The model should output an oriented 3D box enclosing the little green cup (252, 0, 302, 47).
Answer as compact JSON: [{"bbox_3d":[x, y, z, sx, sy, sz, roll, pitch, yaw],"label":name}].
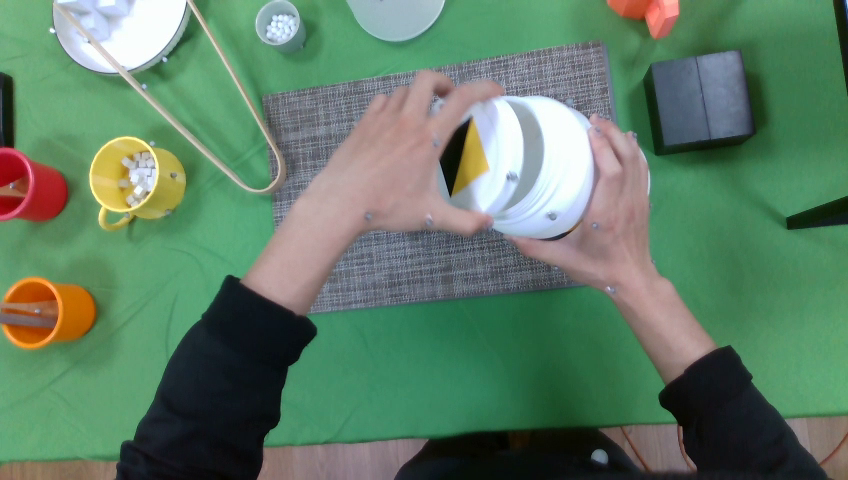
[{"bbox_3d":[-0.193,-0.290,0.808,0.061,0.039,0.061,0,87,8],"label":"little green cup"}]

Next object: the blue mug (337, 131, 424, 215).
[{"bbox_3d":[-0.035,-0.072,0.729,0.116,0.106,0.082,19,88,10],"label":"blue mug"}]

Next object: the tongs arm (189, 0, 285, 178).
[{"bbox_3d":[-0.282,-0.255,0.802,0.028,0.028,0.387,-31,88,-4],"label":"tongs arm"}]

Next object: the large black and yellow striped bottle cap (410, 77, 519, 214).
[{"bbox_3d":[0.031,-0.079,0.510,0.114,0.019,0.115,5,97,48],"label":"large black and yellow striped bottle cap"}]

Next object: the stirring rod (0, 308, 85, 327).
[{"bbox_3d":[-0.533,0.095,0.775,0.006,0.177,0.014,-22,61,49],"label":"stirring rod"}]

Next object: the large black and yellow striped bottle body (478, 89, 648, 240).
[{"bbox_3d":[0.121,-0.070,0.589,0.130,0.185,0.130,-5,83,42],"label":"large black and yellow striped bottle body"}]

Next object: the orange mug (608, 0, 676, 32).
[{"bbox_3d":[0.263,-0.316,0.711,0.083,0.101,0.125,-17,79,7],"label":"orange mug"}]

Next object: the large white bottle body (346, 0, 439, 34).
[{"bbox_3d":[-0.053,-0.342,0.717,0.130,0.185,0.130,-1,85,9],"label":"large white bottle body"}]

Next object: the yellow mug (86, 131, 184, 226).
[{"bbox_3d":[-0.392,-0.075,0.807,0.099,0.064,0.131,32,92,9],"label":"yellow mug"}]

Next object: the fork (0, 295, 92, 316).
[{"bbox_3d":[-0.543,0.078,0.774,0.209,0.018,0.028,10,84,-34],"label":"fork"}]

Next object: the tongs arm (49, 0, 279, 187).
[{"bbox_3d":[-0.347,-0.201,0.804,0.051,0.026,0.384,-45,88,-1],"label":"tongs arm"}]

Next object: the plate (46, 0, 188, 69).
[{"bbox_3d":[-0.422,-0.337,0.846,0.207,0.039,0.207,-1,86,8],"label":"plate"}]

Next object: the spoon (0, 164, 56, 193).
[{"bbox_3d":[-0.590,-0.062,0.796,0.194,0.022,0.041,-25,77,-39],"label":"spoon"}]
